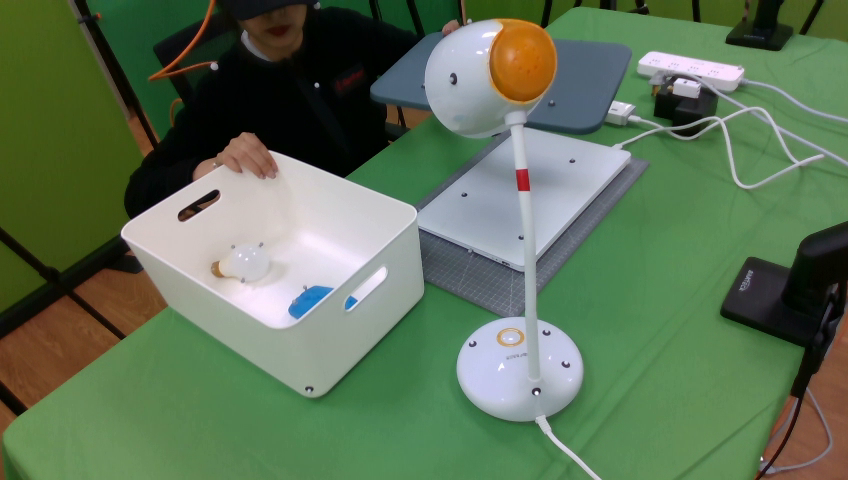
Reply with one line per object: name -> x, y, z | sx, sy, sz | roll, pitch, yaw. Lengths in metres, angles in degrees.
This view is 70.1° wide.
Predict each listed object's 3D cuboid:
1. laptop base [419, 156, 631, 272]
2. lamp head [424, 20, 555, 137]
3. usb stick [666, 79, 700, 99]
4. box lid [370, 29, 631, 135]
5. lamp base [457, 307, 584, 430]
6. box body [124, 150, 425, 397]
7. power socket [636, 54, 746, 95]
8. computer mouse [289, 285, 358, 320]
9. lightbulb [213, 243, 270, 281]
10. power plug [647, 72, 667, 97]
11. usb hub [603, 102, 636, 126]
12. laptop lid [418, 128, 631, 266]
laptop base -> 0.176, -0.083, 1.055 | 0.233, 0.023, 0.355 | 21, 48, 36
lamp head -> 0.069, -0.153, 0.572 | 0.113, 0.112, 0.122 | -21, 16, -14
usb stick -> 0.492, -0.288, 1.152 | 0.058, 0.027, 0.021 | 20, 51, 34
box lid -> 0.126, -0.263, 0.969 | 0.369, 0.015, 0.263 | 14, 46, 21
lamp base -> 0.115, 0.108, 0.713 | 0.161, 0.181, 0.178 | -17, 43, -8
box body -> -0.205, 0.034, 0.878 | 0.361, 0.161, 0.255 | 22, 49, 32
power socket -> 0.564, -0.357, 1.293 | 0.225, 0.033, 0.072 | 24, 51, 33
computer mouse -> -0.142, 0.099, 0.874 | 0.116, 0.041, 0.063 | 18, 49, 36
lightbulb -> -0.296, 0.040, 0.969 | 0.107, 0.060, 0.059 | -13, 36, 27
power plug -> 0.494, -0.321, 1.261 | 0.073, 0.052, 0.035 | 0, 21, -41
usb hub -> 0.360, -0.263, 1.228 | 0.124, 0.025, 0.049 | 24, 49, 34
laptop lid -> 0.173, -0.093, 1.049 | 0.239, 0.013, 0.358 | 23, 50, 36
